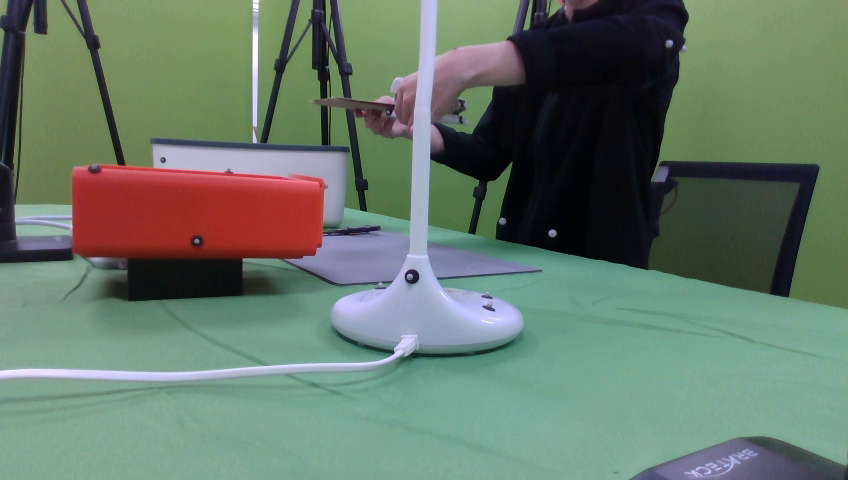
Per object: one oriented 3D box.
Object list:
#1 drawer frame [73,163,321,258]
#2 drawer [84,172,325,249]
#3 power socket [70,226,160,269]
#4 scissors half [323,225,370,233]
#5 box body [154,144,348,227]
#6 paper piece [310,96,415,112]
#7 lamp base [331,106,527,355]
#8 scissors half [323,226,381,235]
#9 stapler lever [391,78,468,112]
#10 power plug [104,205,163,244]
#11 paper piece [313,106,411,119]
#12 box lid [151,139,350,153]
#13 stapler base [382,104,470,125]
[{"bbox_3d":[-0.232,-0.034,0.635,0.214,0.082,0.201,1,8,-23],"label":"drawer frame"},{"bbox_3d":[-0.227,-0.036,0.638,0.213,0.073,0.193,-1,9,-23],"label":"drawer"},{"bbox_3d":[-0.409,0.004,0.793,0.072,0.032,0.225,-2,8,-38],"label":"power socket"},{"bbox_3d":[-0.166,-0.015,1.094,0.040,0.013,0.176,4,7,39],"label":"scissors half"},{"bbox_3d":[-0.357,-0.119,1.264,0.365,0.160,0.253,0,7,-18],"label":"box body"},{"bbox_3d":[-0.087,-0.203,0.904,0.139,0.008,0.135,2,11,-28],"label":"paper piece"},{"bbox_3d":[0.006,-0.012,0.478,0.161,0.180,0.179,2,10,2],"label":"lamp base"},{"bbox_3d":[-0.153,-0.015,1.079,0.176,0.013,0.040,-6,2,-33],"label":"scissors half"},{"bbox_3d":[0.006,-0.205,0.850,0.117,0.040,0.027,12,12,28],"label":"stapler lever"},{"bbox_3d":[-0.390,-0.021,0.815,0.073,0.052,0.035,-1,7,-27],"label":"power plug"},{"bbox_3d":[-0.096,-0.193,0.909,0.136,0.004,0.135,2,14,-21],"label":"paper piece"},{"bbox_3d":[-0.352,-0.191,1.256,0.373,0.015,0.262,0,8,-18],"label":"box lid"},{"bbox_3d":[0.002,-0.181,0.854,0.130,0.024,0.041,13,12,28],"label":"stapler base"}]
